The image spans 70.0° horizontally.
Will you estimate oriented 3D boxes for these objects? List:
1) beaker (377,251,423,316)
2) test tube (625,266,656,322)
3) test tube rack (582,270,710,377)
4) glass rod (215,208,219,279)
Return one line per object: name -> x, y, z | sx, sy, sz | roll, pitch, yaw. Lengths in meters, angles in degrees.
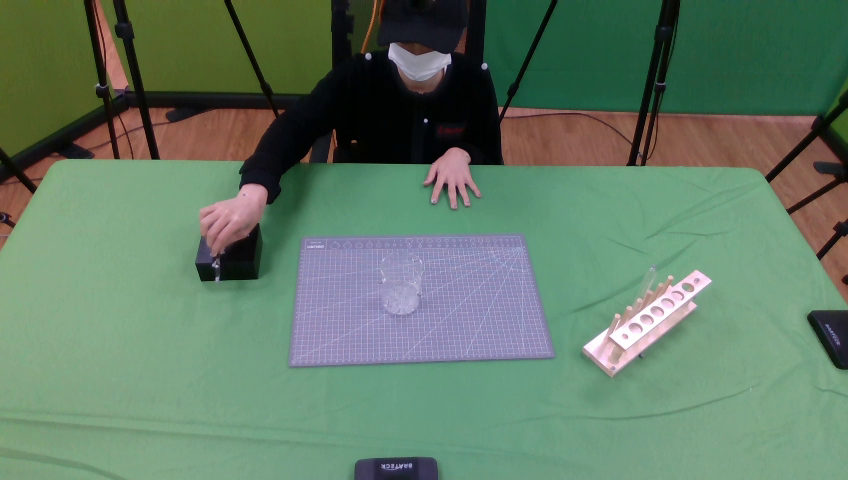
beaker -> -0.040, 0.081, 1.060 | 0.074, 0.101, 0.083 | -32, 57, -30
test tube -> 0.366, 0.096, 1.027 | 0.017, 0.151, 0.017 | 1, 47, 0
test tube rack -> 0.389, 0.132, 1.057 | 0.242, 0.085, 0.066 | -28, 54, -28
glass rod -> -0.377, 0.002, 1.101 | 0.008, 0.008, 0.198 | -8, 42, -12
